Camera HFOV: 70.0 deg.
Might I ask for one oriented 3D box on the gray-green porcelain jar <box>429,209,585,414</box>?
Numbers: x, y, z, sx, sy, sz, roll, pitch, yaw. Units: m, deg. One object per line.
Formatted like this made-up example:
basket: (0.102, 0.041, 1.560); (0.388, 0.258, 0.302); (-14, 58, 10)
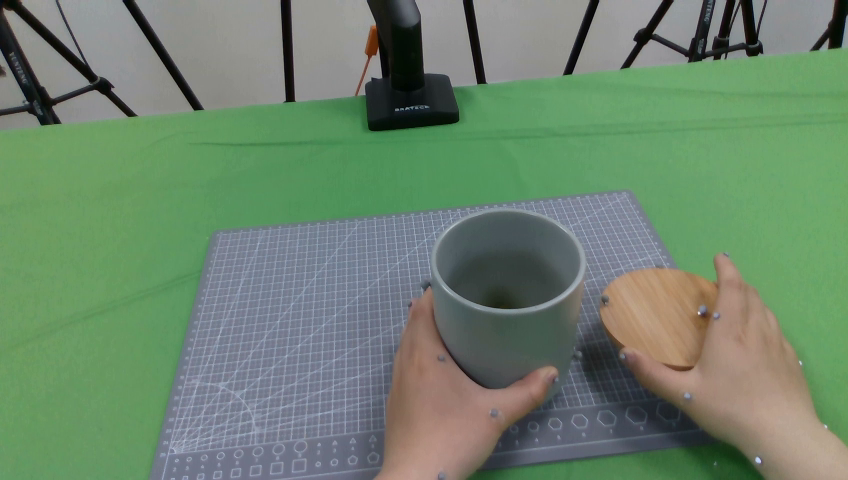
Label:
gray-green porcelain jar: (0.059, 0.058, 0.449); (0.106, 0.127, 0.105); (-2, 42, 2)

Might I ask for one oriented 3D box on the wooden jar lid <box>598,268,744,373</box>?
wooden jar lid: (0.193, 0.064, 0.482); (0.108, 0.021, 0.107); (-4, 38, 3)
